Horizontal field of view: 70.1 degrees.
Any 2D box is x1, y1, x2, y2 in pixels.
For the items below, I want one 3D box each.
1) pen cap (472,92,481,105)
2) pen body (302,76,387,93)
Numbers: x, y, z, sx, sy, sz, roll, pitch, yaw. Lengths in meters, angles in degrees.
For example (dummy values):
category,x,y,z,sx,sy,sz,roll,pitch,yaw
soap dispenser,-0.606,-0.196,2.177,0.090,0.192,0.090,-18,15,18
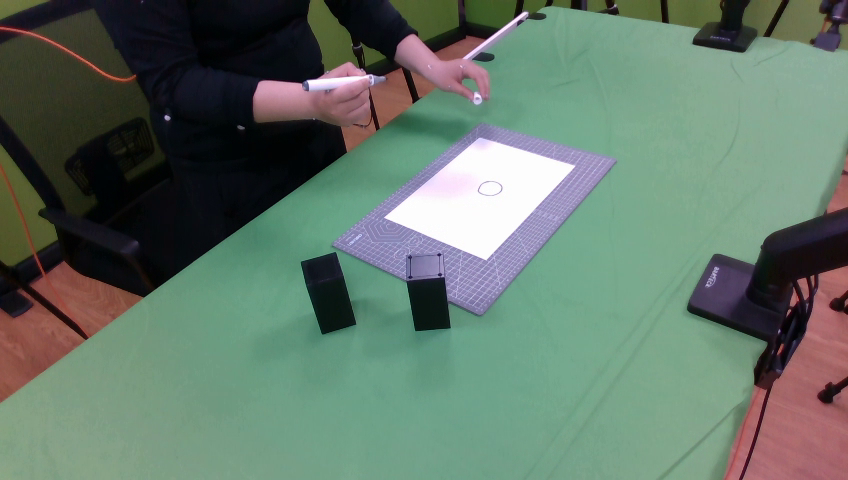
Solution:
category,x,y,z,sx,sy,sz,roll,pitch,yaw
pen cap,0.102,-0.276,1.177,0.017,0.017,0.038,-4,32,5
pen body,-0.116,-0.236,0.917,0.145,0.017,0.016,-16,38,-33
